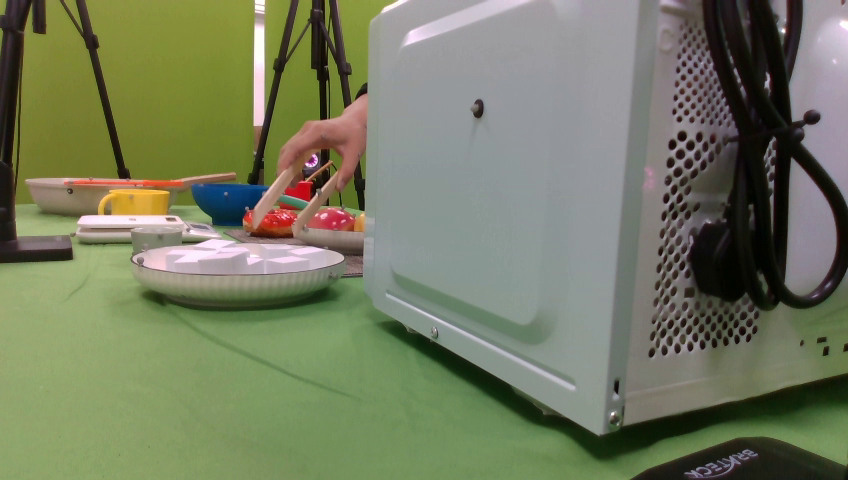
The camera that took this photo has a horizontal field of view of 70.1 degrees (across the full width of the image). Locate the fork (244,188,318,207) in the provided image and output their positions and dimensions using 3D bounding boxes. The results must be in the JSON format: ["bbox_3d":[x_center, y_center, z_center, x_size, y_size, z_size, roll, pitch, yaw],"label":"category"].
[{"bbox_3d":[-0.356,-0.105,1.526,0.208,0.018,0.028,16,-5,-41],"label":"fork"}]

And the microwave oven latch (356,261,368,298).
[{"bbox_3d":[-0.019,0.033,0.530,0.079,0.029,0.030,-1,7,-26],"label":"microwave oven latch"}]

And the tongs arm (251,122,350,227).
[{"bbox_3d":[-0.163,-0.106,0.845,0.028,0.028,0.387,7,26,5],"label":"tongs arm"}]

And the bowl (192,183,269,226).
[{"bbox_3d":[-0.382,-0.071,1.202,0.151,0.077,0.151,3,7,0],"label":"bowl"}]

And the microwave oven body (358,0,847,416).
[{"bbox_3d":[0.211,-0.047,0.475,0.444,0.260,0.324,-1,7,-28],"label":"microwave oven body"}]

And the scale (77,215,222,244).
[{"bbox_3d":[-0.434,-0.019,0.963,0.202,0.031,0.148,-1,9,-27],"label":"scale"}]

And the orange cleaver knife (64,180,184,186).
[{"bbox_3d":[-0.595,-0.114,1.212,0.212,0.012,0.077,-4,6,-41],"label":"orange cleaver knife"}]

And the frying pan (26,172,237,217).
[{"bbox_3d":[-0.624,-0.118,1.387,0.305,0.102,0.490,8,17,32],"label":"frying pan"}]

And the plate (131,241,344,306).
[{"bbox_3d":[-0.187,0.033,0.625,0.208,0.039,0.207,2,7,0],"label":"plate"}]

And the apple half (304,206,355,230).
[{"bbox_3d":[-0.138,-0.024,0.916,0.081,0.053,0.074,0,10,-43],"label":"apple half"}]

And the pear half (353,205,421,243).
[{"bbox_3d":[-0.051,-0.024,0.905,0.110,0.056,0.076,1,-3,-38],"label":"pear half"}]

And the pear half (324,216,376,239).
[{"bbox_3d":[-0.119,-0.023,0.996,0.088,0.031,0.070,-4,23,-29],"label":"pear half"}]

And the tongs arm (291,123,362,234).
[{"bbox_3d":[-0.134,-0.101,0.844,0.051,0.026,0.385,11,26,5],"label":"tongs arm"}]

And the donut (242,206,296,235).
[{"bbox_3d":[-0.262,-0.032,1.039,0.099,0.048,0.099,4,10,0],"label":"donut"}]

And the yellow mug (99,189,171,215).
[{"bbox_3d":[-0.519,-0.055,1.080,0.099,0.064,0.131,7,9,26],"label":"yellow mug"}]

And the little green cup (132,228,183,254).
[{"bbox_3d":[-0.342,0.006,0.779,0.061,0.038,0.061,2,8,0],"label":"little green cup"}]

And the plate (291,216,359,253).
[{"bbox_3d":[-0.103,-0.009,0.945,0.209,0.038,0.209,2,7,0],"label":"plate"}]

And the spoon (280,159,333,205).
[{"bbox_3d":[-0.317,-0.159,1.640,0.194,0.022,0.041,-49,32,-20],"label":"spoon"}]

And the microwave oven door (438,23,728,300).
[{"bbox_3d":[0.181,-0.073,0.621,0.358,0.243,0.039,-2,8,-29],"label":"microwave oven door"}]

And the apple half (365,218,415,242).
[{"bbox_3d":[-0.053,-0.019,0.966,0.081,0.033,0.081,-3,11,1],"label":"apple half"}]

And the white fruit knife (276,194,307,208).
[{"bbox_3d":[-0.364,-0.105,1.464,0.208,0.027,0.016,15,-1,-34],"label":"white fruit knife"}]
